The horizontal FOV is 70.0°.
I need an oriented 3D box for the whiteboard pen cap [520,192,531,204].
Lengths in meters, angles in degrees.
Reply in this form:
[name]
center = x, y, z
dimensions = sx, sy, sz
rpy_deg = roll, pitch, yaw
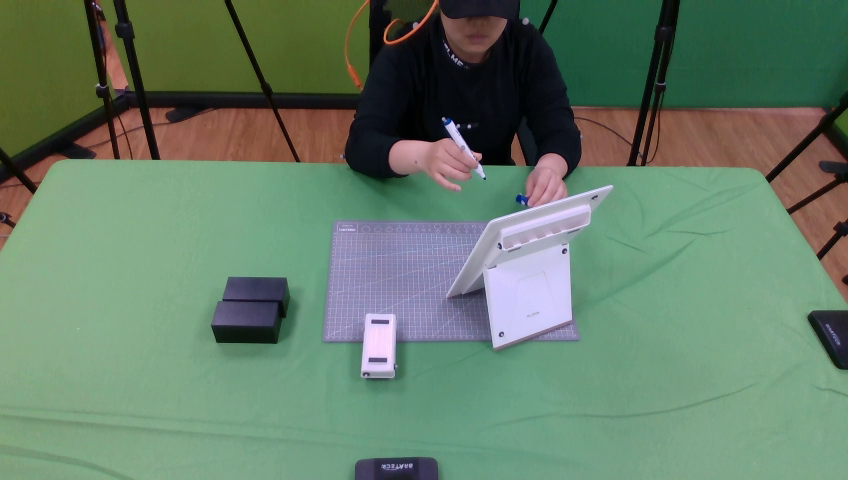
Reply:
[whiteboard pen cap]
center = 0.195, -0.080, 1.160
dimensions = 0.018, 0.018, 0.033
rpy_deg = 18, 24, 13

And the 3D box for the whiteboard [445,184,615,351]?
[whiteboard]
center = 0.187, 0.065, 0.989
dimensions = 0.217, 0.306, 0.143
rpy_deg = -15, 68, -18

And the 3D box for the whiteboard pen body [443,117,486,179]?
[whiteboard pen body]
center = 0.075, -0.160, 1.073
dimensions = 0.017, 0.141, 0.017
rpy_deg = -27, 32, 18

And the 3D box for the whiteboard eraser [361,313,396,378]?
[whiteboard eraser]
center = -0.075, 0.176, 1.006
dimensions = 0.055, 0.042, 0.112
rpy_deg = 3, 50, -4
